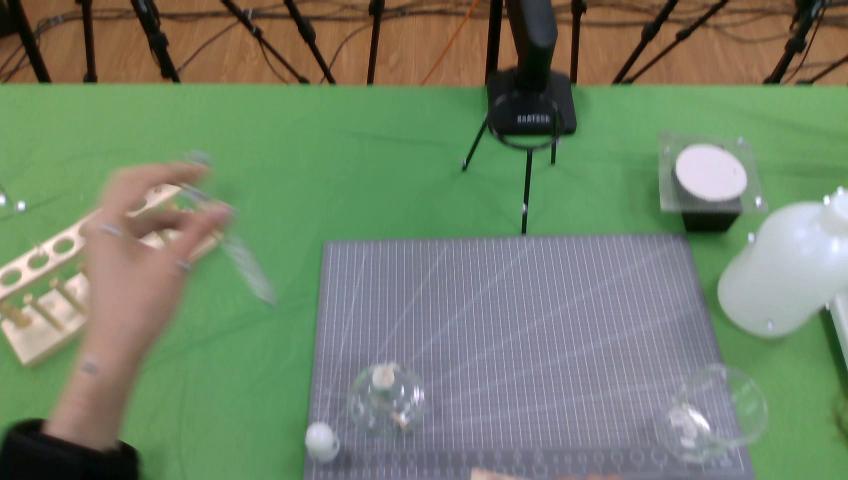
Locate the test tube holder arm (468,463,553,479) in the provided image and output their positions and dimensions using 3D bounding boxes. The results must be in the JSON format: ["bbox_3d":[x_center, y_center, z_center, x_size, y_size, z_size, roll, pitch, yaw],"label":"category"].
[{"bbox_3d":[0.124,0.204,0.489,0.178,0.015,0.013,11,67,1],"label":"test tube holder arm"}]

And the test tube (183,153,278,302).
[{"bbox_3d":[-0.134,-0.002,0.432,0.017,0.152,0.017,-5,50,6],"label":"test tube"}]

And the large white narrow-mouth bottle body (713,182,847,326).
[{"bbox_3d":[0.383,0.009,0.628,0.102,0.196,0.101,0,58,1],"label":"large white narrow-mouth bottle body"}]

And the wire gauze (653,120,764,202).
[{"bbox_3d":[0.345,-0.097,0.744,0.121,0.011,0.124,5,59,4],"label":"wire gauze"}]

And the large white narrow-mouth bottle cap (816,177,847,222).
[{"bbox_3d":[0.383,-0.038,0.555,0.038,0.024,0.037,0,59,1],"label":"large white narrow-mouth bottle cap"}]

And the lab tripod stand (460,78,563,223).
[{"bbox_3d":[0.115,-0.115,0.740,0.148,0.132,0.147,1,60,-1],"label":"lab tripod stand"}]

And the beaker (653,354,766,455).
[{"bbox_3d":[0.268,0.164,0.588,0.084,0.101,0.073,4,59,4],"label":"beaker"}]

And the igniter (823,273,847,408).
[{"bbox_3d":[0.467,0.152,0.640,0.057,0.025,0.274,8,59,-6],"label":"igniter"}]

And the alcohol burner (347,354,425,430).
[{"bbox_3d":[-0.038,0.143,0.594,0.078,0.120,0.077,1,58,-1],"label":"alcohol burner"}]

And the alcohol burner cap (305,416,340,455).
[{"bbox_3d":[-0.103,0.194,0.606,0.034,0.048,0.033,-1,59,1],"label":"alcohol burner cap"}]

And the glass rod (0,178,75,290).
[{"bbox_3d":[-0.402,-0.004,0.626,0.008,0.201,0.008,2,50,-2],"label":"glass rod"}]

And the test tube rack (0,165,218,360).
[{"bbox_3d":[-0.368,0.023,0.686,0.242,0.086,0.066,-37,66,-20],"label":"test tube rack"}]

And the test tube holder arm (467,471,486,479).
[{"bbox_3d":[0.078,0.200,0.487,0.088,0.015,0.010,11,67,1],"label":"test tube holder arm"}]
